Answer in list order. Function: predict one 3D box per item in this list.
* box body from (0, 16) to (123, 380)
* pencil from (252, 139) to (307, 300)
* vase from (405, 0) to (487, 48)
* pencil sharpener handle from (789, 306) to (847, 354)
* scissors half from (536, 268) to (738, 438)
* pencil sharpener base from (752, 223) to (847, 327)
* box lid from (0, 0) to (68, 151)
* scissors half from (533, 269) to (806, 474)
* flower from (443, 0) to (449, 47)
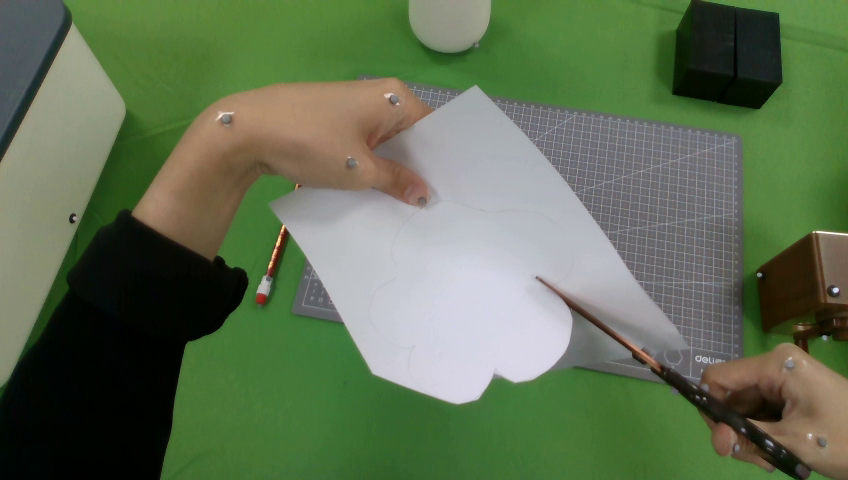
[{"bbox_3d":[-0.485,-0.057,0.575,0.254,0.161,0.361,10,69,4],"label":"box body"},{"bbox_3d":[-0.151,-0.027,0.650,0.012,0.012,0.193,10,67,4],"label":"pencil"},{"bbox_3d":[0.025,-0.305,0.657,0.098,0.201,0.097,0,67,1],"label":"vase"},{"bbox_3d":[0.359,0.082,0.544,0.036,0.068,0.030,11,68,-11],"label":"pencil sharpener handle"},{"bbox_3d":[0.132,0.068,0.356,0.176,0.040,0.013,37,93,-11],"label":"scissors half"},{"bbox_3d":[0.368,0.040,0.574,0.061,0.108,0.076,6,69,2],"label":"pencil sharpener base"},{"bbox_3d":[-0.485,-0.087,0.505,0.263,0.015,0.369,10,68,3],"label":"box lid"},{"bbox_3d":[0.132,0.069,0.334,0.174,0.040,0.013,37,88,12],"label":"scissors half"},{"bbox_3d":[0.020,-0.350,0.585,0.044,0.365,0.038,3,50,5],"label":"flower"}]
